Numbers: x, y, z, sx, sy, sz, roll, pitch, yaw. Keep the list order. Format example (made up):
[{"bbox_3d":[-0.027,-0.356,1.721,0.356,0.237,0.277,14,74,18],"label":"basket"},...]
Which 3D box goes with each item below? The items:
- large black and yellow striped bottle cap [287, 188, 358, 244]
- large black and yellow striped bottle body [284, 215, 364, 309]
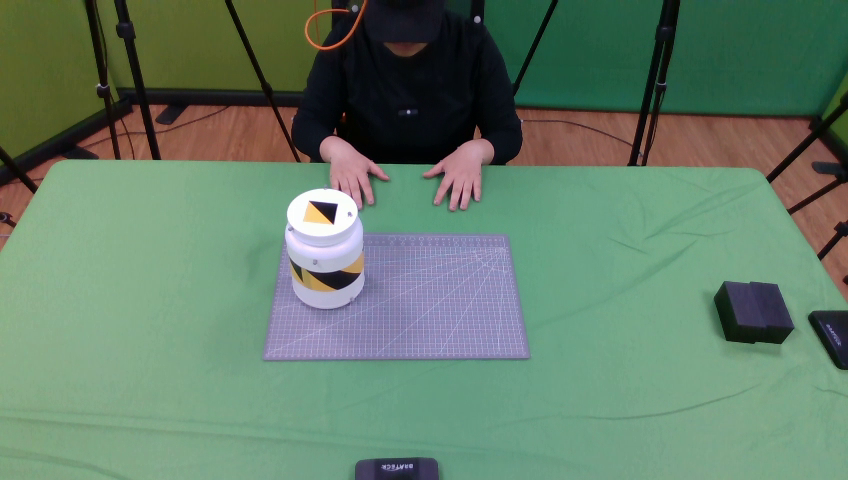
[{"bbox_3d":[-0.166,-0.041,0.991,0.115,0.019,0.114,2,46,-1],"label":"large black and yellow striped bottle cap"},{"bbox_3d":[-0.171,0.017,1.052,0.131,0.185,0.130,2,46,-2],"label":"large black and yellow striped bottle body"}]
